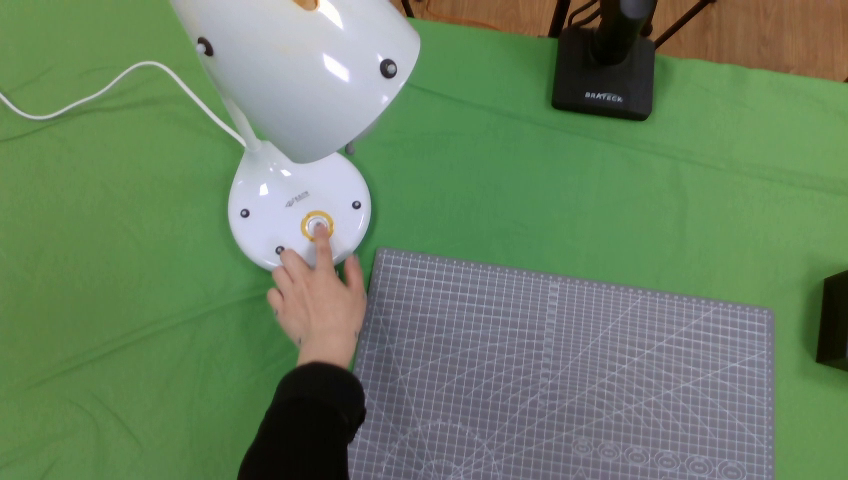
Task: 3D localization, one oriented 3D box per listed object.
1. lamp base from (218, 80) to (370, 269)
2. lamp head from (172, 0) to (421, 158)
[{"bbox_3d":[-0.150,-0.075,0.619,0.178,0.181,0.160,42,77,13],"label":"lamp base"},{"bbox_3d":[-0.081,-0.126,0.343,0.124,0.111,0.112,41,73,-30],"label":"lamp head"}]
